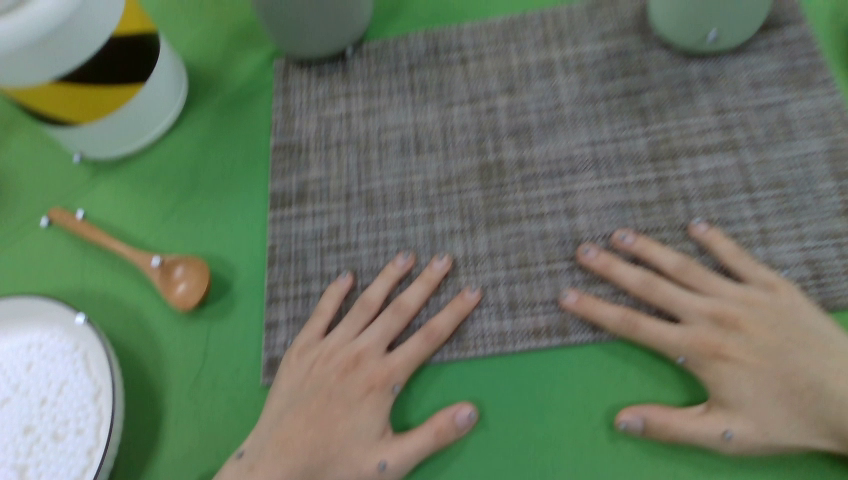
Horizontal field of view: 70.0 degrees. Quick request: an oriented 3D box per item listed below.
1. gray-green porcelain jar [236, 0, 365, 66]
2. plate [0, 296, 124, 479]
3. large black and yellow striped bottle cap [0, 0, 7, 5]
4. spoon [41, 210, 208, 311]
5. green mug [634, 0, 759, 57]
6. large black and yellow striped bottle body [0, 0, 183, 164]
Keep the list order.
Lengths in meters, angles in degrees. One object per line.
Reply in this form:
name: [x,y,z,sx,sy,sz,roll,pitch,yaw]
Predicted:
gray-green porcelain jar: [-0.111,-0.223,0.517,0.106,0.127,0.105,-4,60,8]
plate: [-0.307,0.142,0.429,0.209,0.038,0.207,-4,64,8]
large black and yellow striped bottle cap: [-0.313,-0.195,0.414,0.115,0.019,0.114,-3,63,7]
spoon: [-0.247,0.008,0.491,0.193,0.022,0.041,22,89,18]
green mug: [0.231,-0.208,0.463,0.125,0.106,0.091,-9,63,5]
large black and yellow striped bottle body: [-0.299,-0.161,0.488,0.130,0.185,0.129,-4,64,8]
